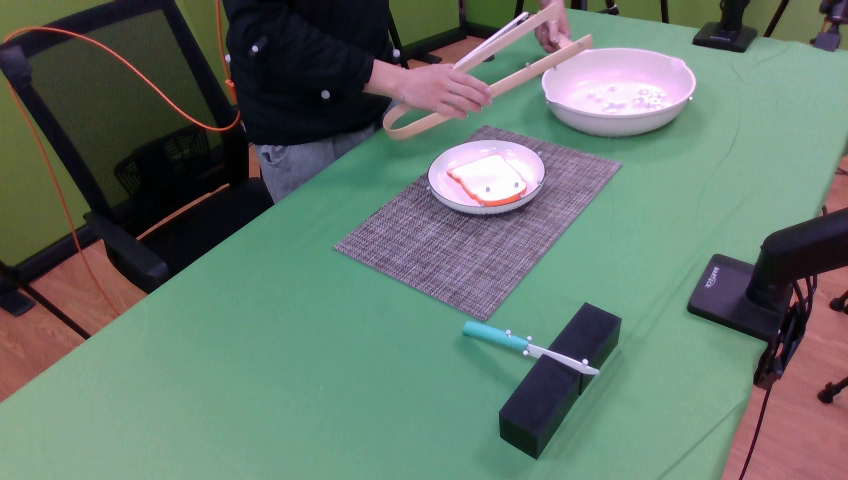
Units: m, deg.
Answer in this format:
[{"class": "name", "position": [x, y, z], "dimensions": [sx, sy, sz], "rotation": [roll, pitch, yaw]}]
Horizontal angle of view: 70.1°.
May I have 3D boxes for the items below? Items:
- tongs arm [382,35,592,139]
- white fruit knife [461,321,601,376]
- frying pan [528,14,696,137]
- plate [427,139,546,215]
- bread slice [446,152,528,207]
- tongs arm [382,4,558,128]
[{"class": "tongs arm", "position": [0.107, -0.270, 1.060], "dimensions": [0.384, 0.027, 0.050], "rotation": [-27, 52, 4]}, {"class": "white fruit knife", "position": [0.125, 0.133, 0.752], "dimensions": [0.205, 0.027, 0.016], "rotation": [12, 44, 41]}, {"class": "frying pan", "position": [0.348, -0.368, 1.282], "dimensions": [0.308, 0.103, 0.484], "rotation": [-17, 50, -13]}, {"class": "plate", "position": [0.109, -0.106, 1.058], "dimensions": [0.207, 0.039, 0.206], "rotation": [-4, 40, 4]}, {"class": "bread slice", "position": [0.118, -0.104, 1.057], "dimensions": [0.107, 0.018, 0.133], "rotation": [-24, 42, -18]}, {"class": "tongs arm", "position": [0.084, -0.317, 1.103], "dimensions": [0.388, 0.028, 0.028], "rotation": [-33, 55, -2]}]
